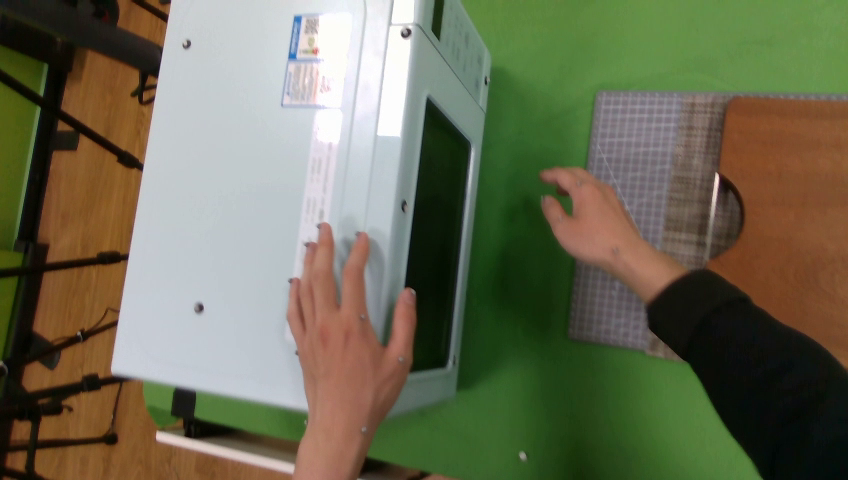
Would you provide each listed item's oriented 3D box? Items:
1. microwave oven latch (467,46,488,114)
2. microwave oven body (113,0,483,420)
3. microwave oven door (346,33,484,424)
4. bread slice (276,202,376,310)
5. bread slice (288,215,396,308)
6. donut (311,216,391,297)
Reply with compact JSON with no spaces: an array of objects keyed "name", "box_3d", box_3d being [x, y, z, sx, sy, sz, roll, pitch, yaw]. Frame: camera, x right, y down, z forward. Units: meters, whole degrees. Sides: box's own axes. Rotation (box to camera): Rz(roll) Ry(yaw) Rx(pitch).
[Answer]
[{"name":"microwave oven latch","box_3d":[0.064,-0.200,0.761,0.030,0.030,0.079,4,85,21]},{"name":"microwave oven body","box_3d":[-0.129,-0.049,0.708,0.324,0.262,0.440,4,84,21]},{"name":"microwave oven door","box_3d":[0.000,0.001,0.647,0.039,0.245,0.355,4,84,22]},{"name":"bread slice","box_3d":[-0.112,0.028,0.677,0.134,0.018,0.106,-16,80,31]},{"name":"bread slice","box_3d":[-0.108,0.024,0.764,0.131,0.019,0.105,11,95,9]},{"name":"donut","box_3d":[-0.088,0.020,0.721,0.099,0.048,0.099,2,103,11]}]
